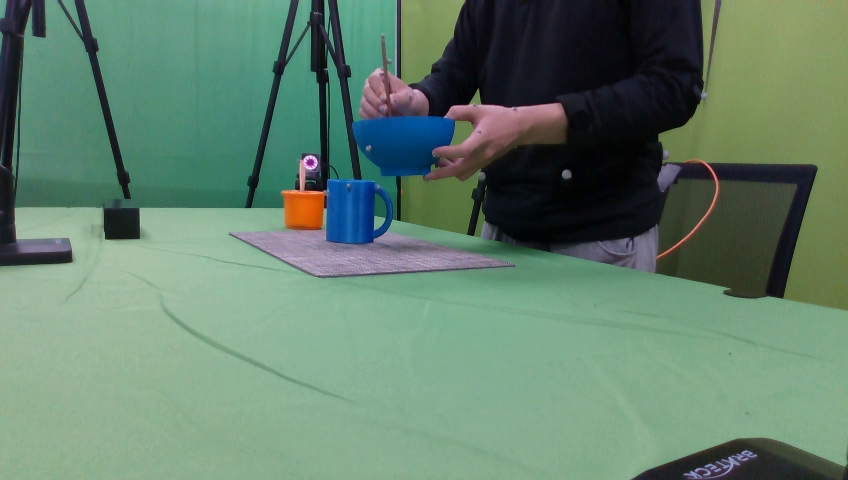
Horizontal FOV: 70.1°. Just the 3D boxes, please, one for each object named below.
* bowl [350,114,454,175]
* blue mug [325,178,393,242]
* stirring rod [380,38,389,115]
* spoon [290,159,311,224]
[{"bbox_3d":[-0.030,-0.135,0.876,0.151,0.077,0.151,-2,5,1],"label":"bowl"},{"bbox_3d":[-0.111,-0.052,1.034,0.116,0.106,0.082,3,7,7],"label":"blue mug"},{"bbox_3d":[-0.055,-0.204,0.880,0.006,0.176,0.014,-5,6,-12],"label":"stirring rod"},{"bbox_3d":[-0.256,-0.104,1.265,0.042,0.193,0.021,1,-37,-9],"label":"spoon"}]
